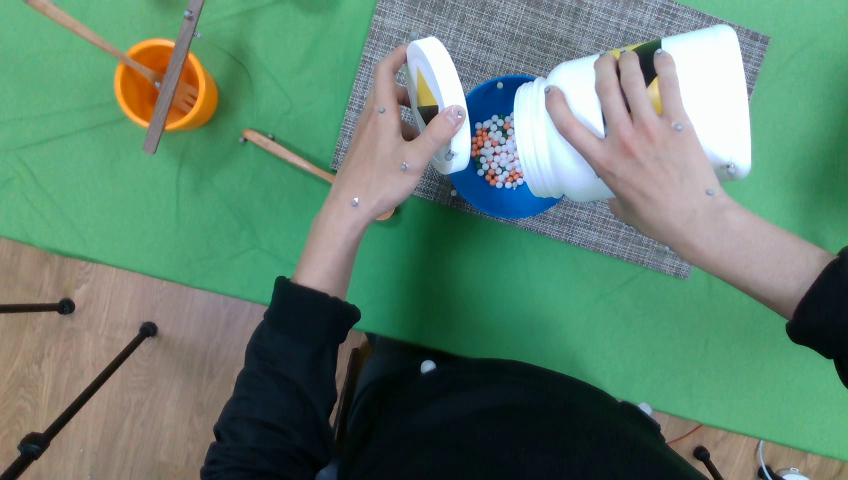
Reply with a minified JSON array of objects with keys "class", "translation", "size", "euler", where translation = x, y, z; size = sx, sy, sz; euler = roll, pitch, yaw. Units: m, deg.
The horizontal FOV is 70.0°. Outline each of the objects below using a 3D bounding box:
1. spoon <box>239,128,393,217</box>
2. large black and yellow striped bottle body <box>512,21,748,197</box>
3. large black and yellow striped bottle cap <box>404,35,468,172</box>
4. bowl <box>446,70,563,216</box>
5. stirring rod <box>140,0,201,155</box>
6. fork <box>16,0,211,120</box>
[{"class":"spoon","translation":[-0.124,-0.081,0.692],"size":[0.194,0.021,0.042],"euler":[27,108,-7]},{"class":"large black and yellow striped bottle body","translation":[0.181,-0.109,0.544],"size":[0.183,0.131,0.131],"euler":[-7,97,23]},{"class":"large black and yellow striped bottle cap","translation":[0.008,-0.115,0.521],"size":[0.019,0.114,0.115],"euler":[-17,96,-12]},{"class":"bowl","translation":[0.089,-0.104,0.670],"size":[0.151,0.076,0.151],"euler":[0,96,-3]},{"class":"stirring rod","translation":[-0.254,-0.170,0.608],"size":[0.014,0.006,0.176],"euler":[19,95,-7]},{"class":"fork","translation":[-0.304,-0.182,0.606],"size":[0.028,0.018,0.209],"euler":[-52,139,4]}]
